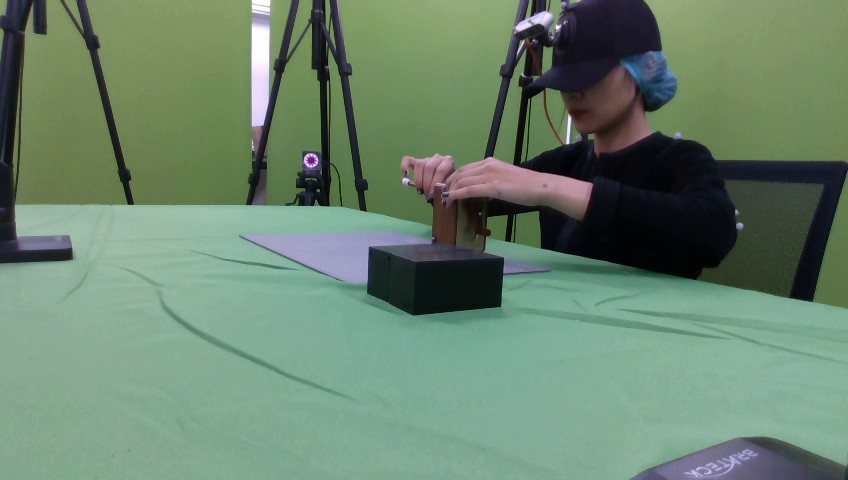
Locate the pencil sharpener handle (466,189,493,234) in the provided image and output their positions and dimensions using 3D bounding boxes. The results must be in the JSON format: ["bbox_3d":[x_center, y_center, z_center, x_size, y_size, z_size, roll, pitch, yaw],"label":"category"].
[{"bbox_3d":[0.088,-0.042,0.900,0.036,0.068,0.030,-14,15,-29],"label":"pencil sharpener handle"}]

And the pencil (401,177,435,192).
[{"bbox_3d":[0.010,-0.088,1.027,0.012,0.012,0.193,-2,15,-31],"label":"pencil"}]

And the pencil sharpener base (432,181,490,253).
[{"bbox_3d":[0.058,-0.037,0.944,0.062,0.107,0.076,-2,9,-31],"label":"pencil sharpener base"}]
